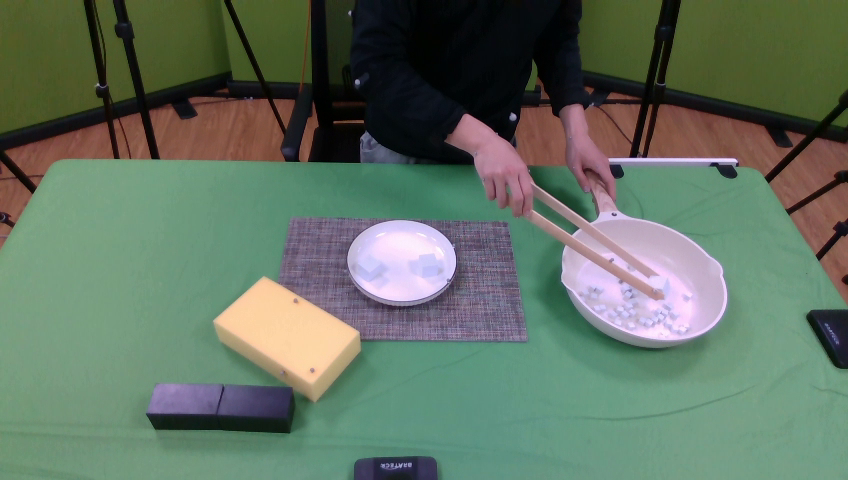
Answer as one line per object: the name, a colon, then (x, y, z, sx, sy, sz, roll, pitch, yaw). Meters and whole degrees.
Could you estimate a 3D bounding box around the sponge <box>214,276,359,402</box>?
sponge: (-0.225, 0.158, 0.998, 0.206, 0.061, 0.118, 27, 52, 18)

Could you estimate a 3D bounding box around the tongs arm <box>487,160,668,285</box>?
tongs arm: (0.273, -0.031, 1.084, 0.388, 0.028, 0.028, 34, 61, -3)

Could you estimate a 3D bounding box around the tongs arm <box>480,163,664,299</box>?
tongs arm: (0.263, -0.014, 1.071, 0.385, 0.026, 0.050, 31, 57, -6)

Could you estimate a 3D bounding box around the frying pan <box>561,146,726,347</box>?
frying pan: (0.378, -0.005, 1.175, 0.307, 0.103, 0.484, -4, 55, -9)

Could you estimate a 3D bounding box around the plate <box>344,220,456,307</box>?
plate: (-0.045, 0.047, 1.133, 0.208, 0.039, 0.206, 3, 46, -2)
